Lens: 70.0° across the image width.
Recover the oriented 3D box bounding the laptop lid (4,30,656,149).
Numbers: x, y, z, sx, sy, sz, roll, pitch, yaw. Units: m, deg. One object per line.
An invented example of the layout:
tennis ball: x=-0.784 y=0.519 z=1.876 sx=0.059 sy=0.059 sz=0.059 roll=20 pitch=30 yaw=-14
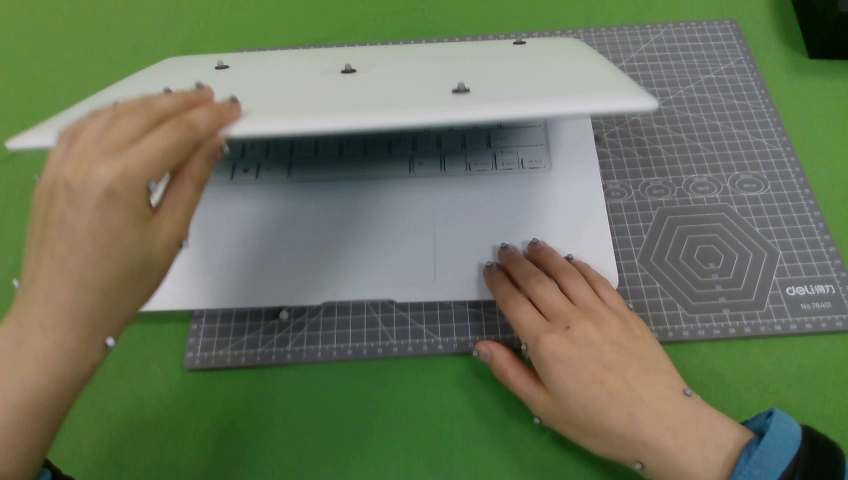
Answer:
laptop lid: x=-0.051 y=-0.113 z=0.415 sx=0.356 sy=0.013 sz=0.239 roll=-1 pitch=29 yaw=4

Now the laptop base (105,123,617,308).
laptop base: x=-0.046 y=-0.059 z=0.468 sx=0.354 sy=0.023 sz=0.233 roll=-2 pitch=63 yaw=2
